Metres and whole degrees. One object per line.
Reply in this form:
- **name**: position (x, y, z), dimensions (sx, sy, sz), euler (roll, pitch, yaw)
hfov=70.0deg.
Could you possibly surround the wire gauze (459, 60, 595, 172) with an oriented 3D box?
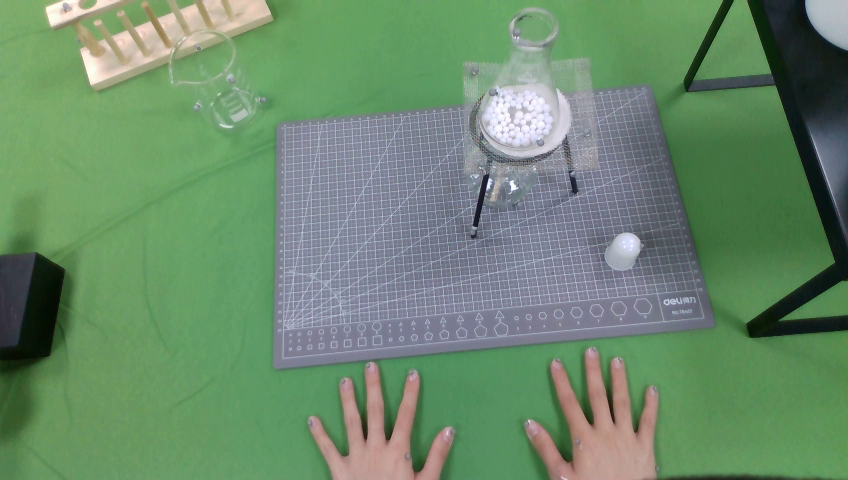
- **wire gauze**: position (0.094, -0.119, 0.562), dimensions (0.121, 0.011, 0.124), euler (0, 66, 1)

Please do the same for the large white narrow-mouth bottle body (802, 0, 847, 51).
- **large white narrow-mouth bottle body**: position (0.374, -0.237, 0.443), dimensions (0.102, 0.196, 0.101), euler (-1, 65, 2)

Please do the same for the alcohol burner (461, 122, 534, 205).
- **alcohol burner**: position (0.078, -0.085, 0.632), dimensions (0.078, 0.120, 0.077), euler (0, 67, 1)

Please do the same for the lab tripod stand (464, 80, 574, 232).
- **lab tripod stand**: position (0.091, -0.089, 0.622), dimensions (0.148, 0.132, 0.147), euler (-1, 66, 2)

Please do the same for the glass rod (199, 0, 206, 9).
- **glass rod**: position (-0.286, -0.347, 0.706), dimensions (0.008, 0.201, 0.008), euler (1, 65, -1)

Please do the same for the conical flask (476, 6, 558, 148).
- **conical flask**: position (0.082, -0.138, 0.506), dimensions (0.075, 0.123, 0.075), euler (-1, 67, 3)

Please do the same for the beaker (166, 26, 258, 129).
- **beaker**: position (-0.242, -0.181, 0.700), dimensions (0.073, 0.101, 0.084), euler (40, 75, 18)

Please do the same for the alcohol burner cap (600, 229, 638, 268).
- **alcohol burner cap**: position (0.204, 0.006, 0.626), dimensions (0.034, 0.048, 0.033), euler (-1, 68, 3)

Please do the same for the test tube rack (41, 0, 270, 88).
- **test tube rack**: position (-0.327, -0.284, 0.755), dimensions (0.242, 0.086, 0.066), euler (-24, 69, -7)
